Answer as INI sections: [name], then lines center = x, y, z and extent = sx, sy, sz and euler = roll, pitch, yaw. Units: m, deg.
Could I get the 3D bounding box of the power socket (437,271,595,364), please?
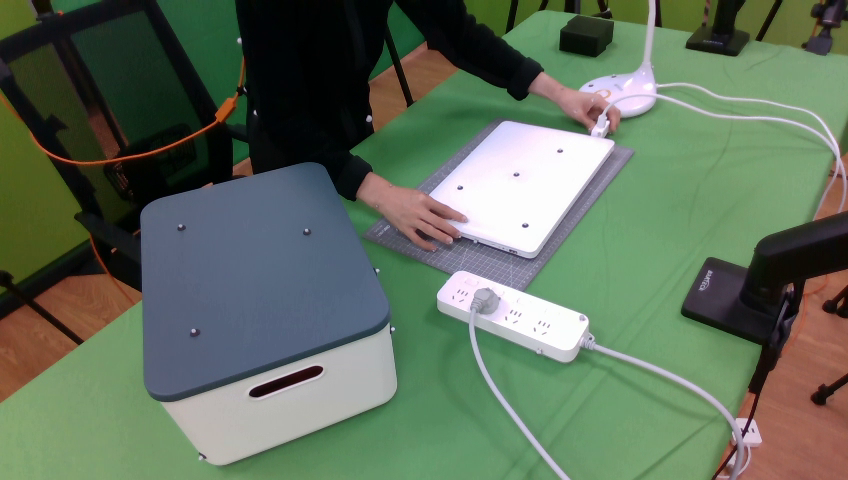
[power socket]
center = 0.118, 0.102, 0.830
extent = 0.225, 0.033, 0.072
euler = 20, 48, 28

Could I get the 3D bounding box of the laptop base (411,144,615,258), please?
[laptop base]
center = 0.167, -0.102, 1.075
extent = 0.234, 0.023, 0.355
euler = 17, 45, 30

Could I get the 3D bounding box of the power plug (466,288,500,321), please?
[power plug]
center = 0.072, 0.093, 0.813
extent = 0.073, 0.053, 0.035
euler = -37, 49, -28

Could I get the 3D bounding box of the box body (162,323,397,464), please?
[box body]
center = -0.205, 0.080, 0.802
extent = 0.255, 0.161, 0.361
euler = -18, 41, -13

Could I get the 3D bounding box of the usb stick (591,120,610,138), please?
[usb stick]
center = 0.333, -0.203, 1.152
extent = 0.021, 0.027, 0.059
euler = 24, 49, 19

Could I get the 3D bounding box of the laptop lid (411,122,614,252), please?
[laptop lid]
center = 0.164, -0.112, 1.068
extent = 0.240, 0.013, 0.357
euler = 19, 46, 30

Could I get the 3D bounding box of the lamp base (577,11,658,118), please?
[lamp base]
center = 0.406, -0.363, 1.222
extent = 0.180, 0.181, 0.159
euler = -20, 42, -18

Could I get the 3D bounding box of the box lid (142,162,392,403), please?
[box lid]
center = -0.212, 0.024, 0.752
extent = 0.264, 0.015, 0.368
euler = -17, 41, -13
